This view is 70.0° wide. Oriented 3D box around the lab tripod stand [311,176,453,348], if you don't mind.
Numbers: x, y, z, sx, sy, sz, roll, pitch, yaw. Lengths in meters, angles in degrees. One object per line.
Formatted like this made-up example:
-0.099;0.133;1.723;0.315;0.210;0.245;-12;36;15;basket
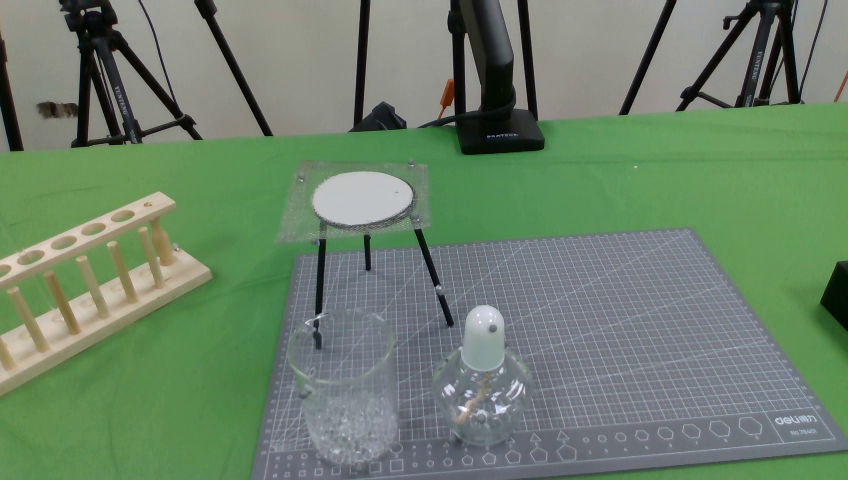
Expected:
-0.044;0.019;0.555;0.148;0.132;0.147;-1;34;1;lab tripod stand

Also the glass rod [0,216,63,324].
-0.369;-0.002;0.537;0.008;0.201;0.008;-6;33;4;glass rod

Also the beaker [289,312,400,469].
-0.057;0.113;0.451;0.083;0.101;0.074;25;43;34;beaker

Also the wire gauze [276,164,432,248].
-0.055;-0.034;0.514;0.121;0.011;0.124;-2;36;-1;wire gauze

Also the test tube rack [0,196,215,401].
-0.331;0.053;0.572;0.066;0.086;0.242;26;44;35;test tube rack

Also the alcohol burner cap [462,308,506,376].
0.044;0.070;0.431;0.034;0.048;0.033;0;37;0;alcohol burner cap

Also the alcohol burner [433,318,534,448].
0.045;0.099;0.452;0.078;0.120;0.077;-1;37;1;alcohol burner
